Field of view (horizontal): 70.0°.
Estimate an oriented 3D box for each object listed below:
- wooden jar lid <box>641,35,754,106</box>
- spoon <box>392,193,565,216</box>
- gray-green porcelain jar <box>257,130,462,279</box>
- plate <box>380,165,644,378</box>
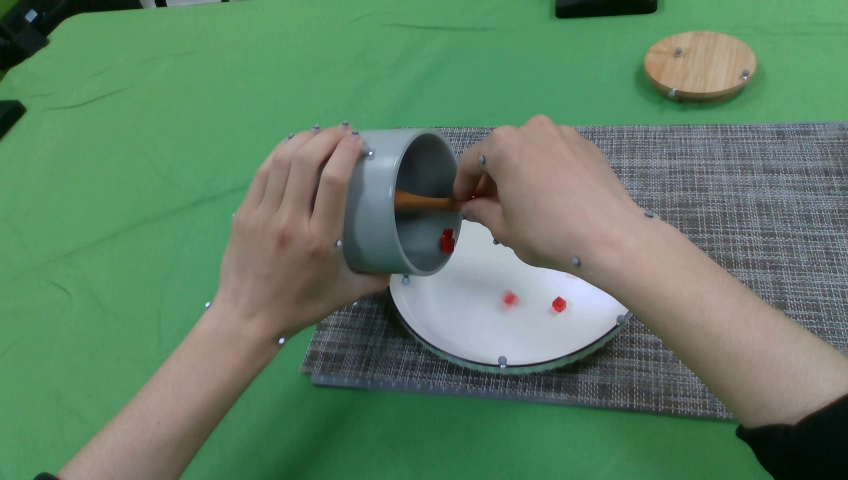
[{"bbox_3d":[0.283,-0.176,0.632,0.108,0.021,0.107,-6,51,8],"label":"wooden jar lid"},{"bbox_3d":[0.008,-0.026,0.435,0.193,0.022,0.041,2,66,28],"label":"spoon"},{"bbox_3d":[-0.050,-0.028,0.454,0.126,0.107,0.105,4,51,29],"label":"gray-green porcelain jar"},{"bbox_3d":[0.069,0.023,0.497,0.207,0.039,0.205,-6,50,8],"label":"plate"}]
